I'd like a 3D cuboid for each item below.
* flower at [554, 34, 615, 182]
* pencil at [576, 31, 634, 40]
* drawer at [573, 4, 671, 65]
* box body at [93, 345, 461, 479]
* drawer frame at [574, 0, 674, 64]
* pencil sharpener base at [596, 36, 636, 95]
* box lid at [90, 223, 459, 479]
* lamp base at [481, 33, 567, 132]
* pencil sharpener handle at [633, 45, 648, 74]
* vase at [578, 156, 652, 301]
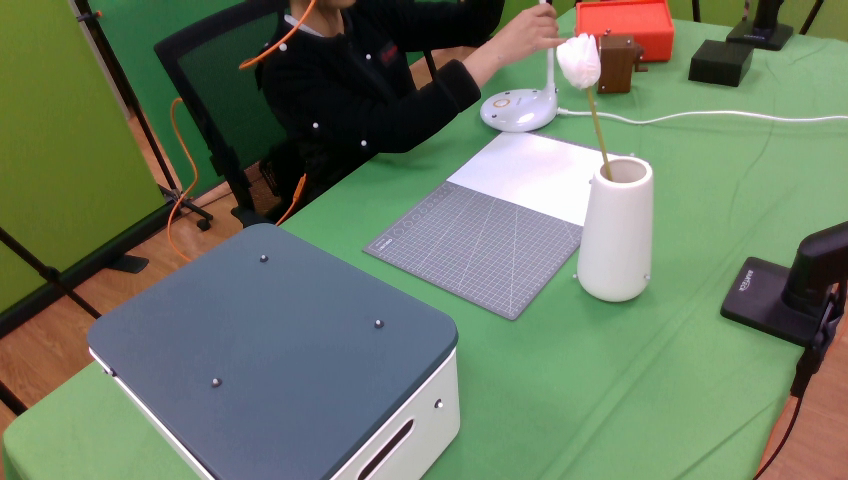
[{"bbox_3d":[0.237,-0.083,0.774,0.044,0.363,0.038,-22,26,6],"label":"flower"},{"bbox_3d":[0.430,-0.487,1.444,0.012,0.012,0.192,-25,31,-18],"label":"pencil"},{"bbox_3d":[0.461,-0.490,1.435,0.211,0.073,0.194,2,41,12],"label":"drawer"},{"bbox_3d":[-0.162,0.170,0.708,0.361,0.161,0.255,25,50,34],"label":"box body"},{"bbox_3d":[0.464,-0.492,1.434,0.213,0.083,0.201,1,40,12],"label":"drawer frame"},{"bbox_3d":[0.406,-0.369,1.280,0.076,0.107,0.061,1,41,13],"label":"pencil sharpener base"},{"bbox_3d":[-0.174,0.102,0.666,0.368,0.015,0.264,24,48,35],"label":"box lid"},{"bbox_3d":[0.203,-0.331,1.216,0.179,0.181,0.160,3,41,9],"label":"lamp base"},{"bbox_3d":[0.454,-0.378,1.262,0.030,0.068,0.036,1,47,13],"label":"pencil sharpener handle"},{"bbox_3d":[0.261,-0.011,0.812,0.098,0.201,0.097,-4,40,4],"label":"vase"}]
